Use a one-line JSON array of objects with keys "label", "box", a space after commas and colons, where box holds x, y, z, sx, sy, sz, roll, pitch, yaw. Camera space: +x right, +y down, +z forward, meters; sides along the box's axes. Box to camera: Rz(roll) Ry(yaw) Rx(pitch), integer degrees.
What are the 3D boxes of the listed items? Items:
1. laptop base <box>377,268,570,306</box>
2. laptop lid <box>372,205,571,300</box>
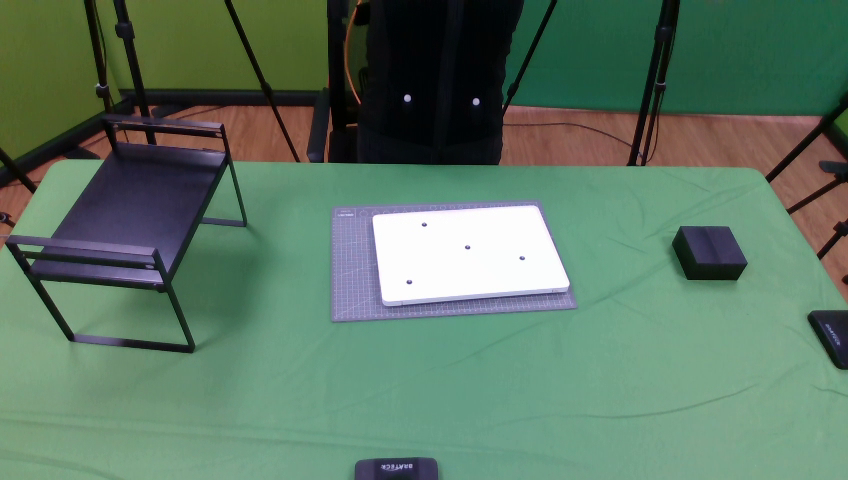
[{"label": "laptop base", "box": [0.083, 0.027, 1.178, 0.355, 0.023, 0.234, -4, 43, -8]}, {"label": "laptop lid", "box": [0.083, 0.017, 1.171, 0.357, 0.013, 0.240, -3, 44, -7]}]
